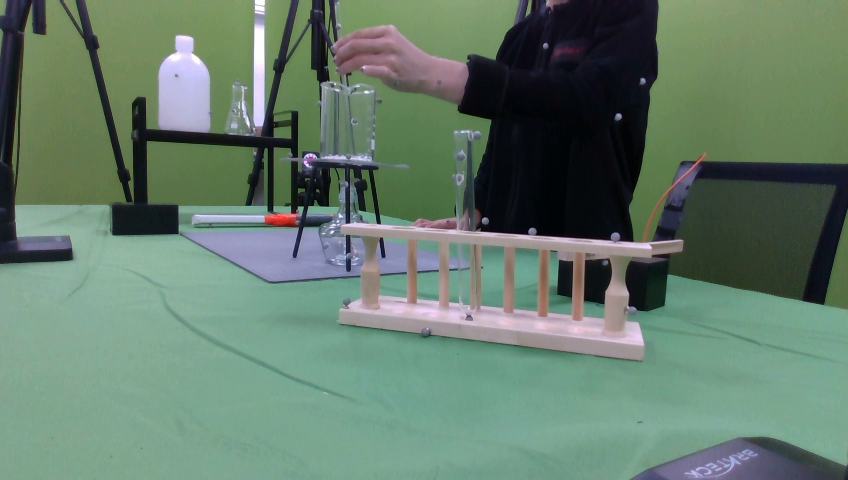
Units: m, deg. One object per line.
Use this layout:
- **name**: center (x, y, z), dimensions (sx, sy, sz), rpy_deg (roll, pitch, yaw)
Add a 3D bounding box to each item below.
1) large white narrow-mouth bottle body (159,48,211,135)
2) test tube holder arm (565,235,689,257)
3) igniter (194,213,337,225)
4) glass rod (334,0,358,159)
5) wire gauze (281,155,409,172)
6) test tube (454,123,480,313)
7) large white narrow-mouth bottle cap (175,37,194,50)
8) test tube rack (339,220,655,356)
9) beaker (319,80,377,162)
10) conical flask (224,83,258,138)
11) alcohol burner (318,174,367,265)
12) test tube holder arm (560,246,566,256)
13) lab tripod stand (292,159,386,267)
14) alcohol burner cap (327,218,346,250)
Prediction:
- **large white narrow-mouth bottle body**: center (-0.503, -0.322, 1.275), dimensions (0.102, 0.194, 0.102), rpy_deg (2, 7, 0)
- **test tube holder arm**: center (0.216, 0.006, 0.629), dimensions (0.179, 0.015, 0.013), rpy_deg (-3, 10, -30)
- **igniter**: center (-0.306, -0.041, 1.197), dimensions (0.278, 0.025, 0.057), rpy_deg (-2, -2, -30)
- **glass rod**: center (-0.100, -0.204, 0.782), dimensions (0.008, 0.199, 0.008), rpy_deg (-5, 15, 2)
- **wire gauze**: center (-0.104, -0.103, 0.785), dimensions (0.126, 0.011, 0.121), rpy_deg (1, 8, -39)
- **test tube**: center (0.034, -0.016, 0.476), dimensions (0.017, 0.150, 0.017), rpy_deg (-3, 9, 1)
- **large white narrow-mouth bottle cap**: center (-0.501, -0.409, 1.264), dimensions (0.038, 0.024, 0.037), rpy_deg (2, 7, 0)
- **test tube rack**: center (0.056, 0.032, 0.495), dimensions (0.242, 0.085, 0.067), rpy_deg (4, 7, 15)
- **beaker**: center (-0.098, -0.150, 0.777), dimensions (0.074, 0.100, 0.084), rpy_deg (1, 7, -8)
- **conical flask**: center (-0.422, -0.299, 1.395), dimensions (0.075, 0.122, 0.075), rpy_deg (2, 8, 0)
- **alcohol burner**: center (-0.100, -0.028, 0.790), dimensions (0.078, 0.119, 0.078), rpy_deg (0, 6, 0)
- **test tube holder arm**: center (0.173, 0.007, 0.611), dimensions (0.088, 0.015, 0.010), rpy_deg (-3, 10, -29)
- **lab tripod stand**: center (-0.105, -0.039, 0.797), dimensions (0.148, 0.131, 0.148), rpy_deg (2, 5, 0)
- **alcohol burner cap**: center (-0.132, -0.010, 0.927), dimensions (0.034, 0.048, 0.034), rpy_deg (3, 8, 0)
